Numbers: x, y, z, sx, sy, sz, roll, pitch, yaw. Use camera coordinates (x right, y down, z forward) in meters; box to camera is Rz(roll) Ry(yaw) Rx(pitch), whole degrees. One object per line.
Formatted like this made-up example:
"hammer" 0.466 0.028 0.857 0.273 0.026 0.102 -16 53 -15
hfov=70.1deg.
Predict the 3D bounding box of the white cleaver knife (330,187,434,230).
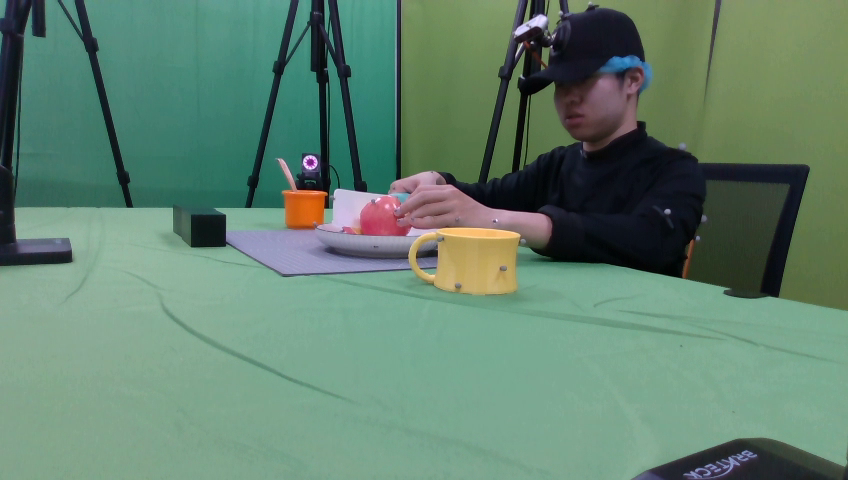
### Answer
"white cleaver knife" -0.066 -0.050 1.011 0.021 0.066 0.288 0 2 33

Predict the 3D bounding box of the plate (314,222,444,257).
"plate" -0.067 -0.002 0.947 0.209 0.038 0.209 3 7 0

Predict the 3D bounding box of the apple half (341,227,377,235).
"apple half" -0.112 -0.021 0.966 0.032 0.081 0.081 -36 -11 25

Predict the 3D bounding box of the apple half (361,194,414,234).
"apple half" -0.057 -0.036 0.943 0.074 0.053 0.081 -10 -12 24

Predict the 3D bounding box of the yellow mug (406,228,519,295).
"yellow mug" 0.044 0.022 0.707 0.131 0.064 0.100 2 7 5

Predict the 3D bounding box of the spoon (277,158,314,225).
"spoon" -0.272 -0.103 1.260 0.042 0.193 0.021 -5 -34 -33
